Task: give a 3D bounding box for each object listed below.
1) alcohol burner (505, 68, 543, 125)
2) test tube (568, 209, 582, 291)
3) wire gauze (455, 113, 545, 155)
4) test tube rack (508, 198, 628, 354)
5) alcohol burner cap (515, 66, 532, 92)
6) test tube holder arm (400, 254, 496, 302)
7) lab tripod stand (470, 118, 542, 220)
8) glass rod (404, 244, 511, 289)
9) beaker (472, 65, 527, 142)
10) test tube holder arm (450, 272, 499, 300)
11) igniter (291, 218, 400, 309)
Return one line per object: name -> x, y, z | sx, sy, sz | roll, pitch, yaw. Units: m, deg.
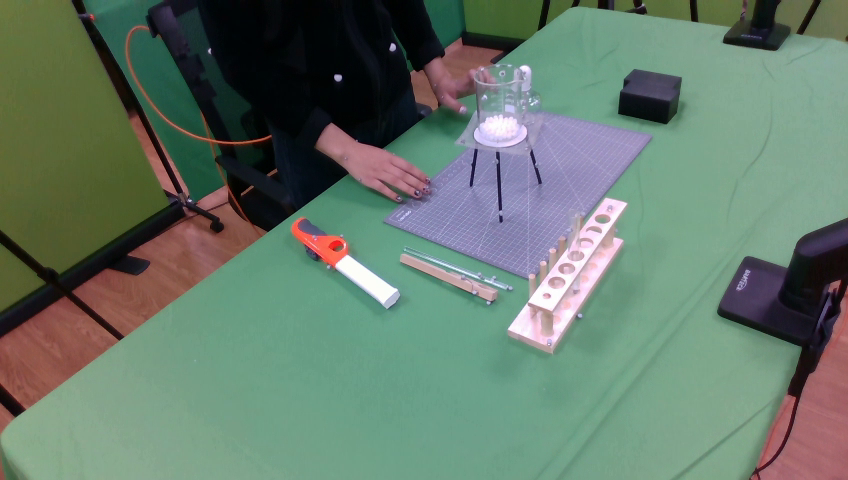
alcohol burner -> 0.201, -0.293, 1.216 | 0.078, 0.119, 0.077 | -4, 41, 4
test tube -> 0.200, 0.017, 0.799 | 0.017, 0.151, 0.017 | -8, 45, 8
wire gauze -> 0.124, -0.175, 0.973 | 0.124, 0.011, 0.121 | 8, 39, 21
test tube rack -> 0.206, 0.039, 0.850 | 0.066, 0.085, 0.243 | 20, 48, 31
alcohol burner cap -> 0.198, -0.320, 1.192 | 0.034, 0.048, 0.033 | 0, 47, 1
test tube holder arm -> 0.033, 0.054, 0.915 | 0.177, 0.015, 0.013 | 21, 17, 33
lab tripod stand -> 0.135, -0.128, 1.019 | 0.148, 0.132, 0.147 | -5, 38, 5
glass rod -> 0.047, 0.039, 0.939 | 0.198, 0.008, 0.008 | 21, 49, 31
beaker -> 0.120, -0.211, 0.942 | 0.083, 0.101, 0.074 | 10, 42, 22
test tube holder arm -> 0.071, 0.068, 0.895 | 0.087, 0.015, 0.010 | 21, 17, 33
igniter -> -0.136, 0.031, 0.970 | 0.057, 0.025, 0.274 | -41, 49, -19
